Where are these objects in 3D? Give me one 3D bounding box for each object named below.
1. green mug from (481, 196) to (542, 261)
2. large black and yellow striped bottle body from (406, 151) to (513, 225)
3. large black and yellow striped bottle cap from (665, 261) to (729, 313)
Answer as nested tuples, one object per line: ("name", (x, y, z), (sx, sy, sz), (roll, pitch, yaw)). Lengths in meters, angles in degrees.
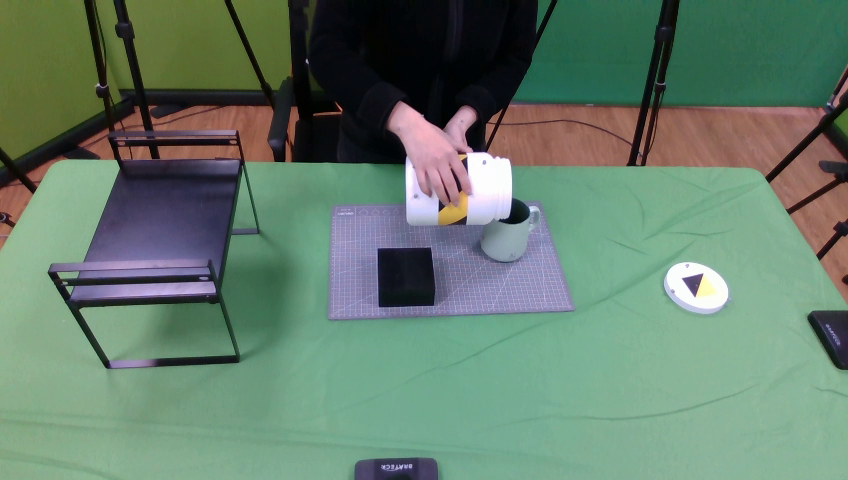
("green mug", (0.174, -0.027, 1.173), (0.125, 0.105, 0.092), (-22, 51, -23))
("large black and yellow striped bottle body", (0.060, -0.093, 1.082), (0.184, 0.131, 0.130), (-1, 46, 0))
("large black and yellow striped bottle cap", (0.518, 0.087, 1.152), (0.115, 0.019, 0.114), (2, 47, -2))
